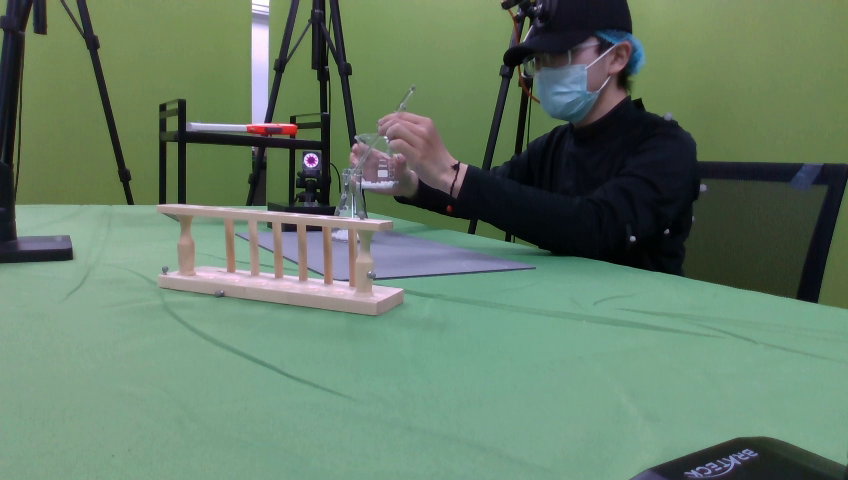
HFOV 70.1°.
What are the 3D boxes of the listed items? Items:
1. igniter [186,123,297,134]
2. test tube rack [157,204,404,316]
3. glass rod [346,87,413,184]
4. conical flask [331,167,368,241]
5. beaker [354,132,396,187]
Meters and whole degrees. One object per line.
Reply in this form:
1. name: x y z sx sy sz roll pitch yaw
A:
1. igniter: -0.393 -0.248 1.341 0.057 0.025 0.278 9 14 38
2. test tube rack: -0.143 0.013 0.599 0.242 0.085 0.067 5 8 19
3. glass rod: -0.074 -0.166 0.979 0.008 0.199 0.008 30 26 -16
4. conical flask: -0.123 -0.061 1.019 0.075 0.122 0.075 2 7 0
5. beaker: -0.091 -0.148 1.125 0.084 0.100 0.073 -6 7 -37
